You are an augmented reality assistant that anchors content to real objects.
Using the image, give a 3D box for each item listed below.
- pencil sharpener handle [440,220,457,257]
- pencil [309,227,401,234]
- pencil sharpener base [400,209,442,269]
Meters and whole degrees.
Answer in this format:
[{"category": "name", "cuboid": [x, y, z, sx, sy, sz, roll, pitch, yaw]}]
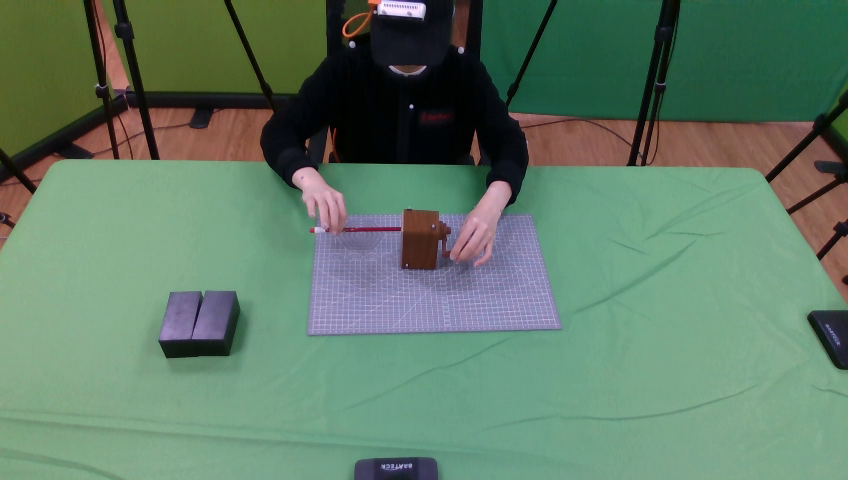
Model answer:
[{"category": "pencil sharpener handle", "cuboid": [0.046, -0.002, 1.116, 0.031, 0.036, 0.067, 2, 90, -2]}, {"category": "pencil", "cuboid": [-0.113, -0.018, 1.111, 0.194, 0.012, 0.012, 0, 46, -1]}, {"category": "pencil sharpener base", "cuboid": [-0.006, 0.000, 1.134, 0.077, 0.107, 0.061, 2, 46, -2]}]
